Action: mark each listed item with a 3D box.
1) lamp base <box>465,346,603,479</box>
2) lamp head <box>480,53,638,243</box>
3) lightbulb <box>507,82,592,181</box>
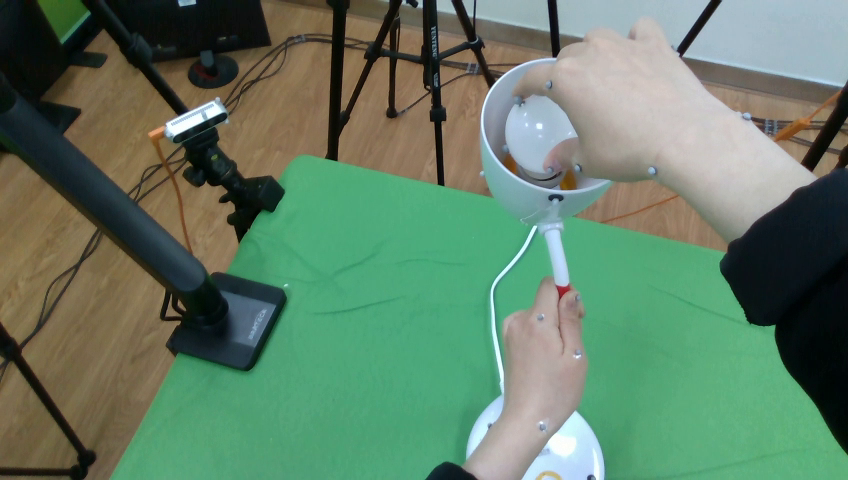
[{"bbox_3d":[0.122,0.200,0.649,0.161,0.182,0.177,-22,57,-13],"label":"lamp base"},{"bbox_3d":[0.096,-0.061,0.474,0.112,0.124,0.111,0,63,0],"label":"lamp head"},{"bbox_3d":[0.091,-0.074,0.452,0.059,0.108,0.059,-2,71,5],"label":"lightbulb"}]
